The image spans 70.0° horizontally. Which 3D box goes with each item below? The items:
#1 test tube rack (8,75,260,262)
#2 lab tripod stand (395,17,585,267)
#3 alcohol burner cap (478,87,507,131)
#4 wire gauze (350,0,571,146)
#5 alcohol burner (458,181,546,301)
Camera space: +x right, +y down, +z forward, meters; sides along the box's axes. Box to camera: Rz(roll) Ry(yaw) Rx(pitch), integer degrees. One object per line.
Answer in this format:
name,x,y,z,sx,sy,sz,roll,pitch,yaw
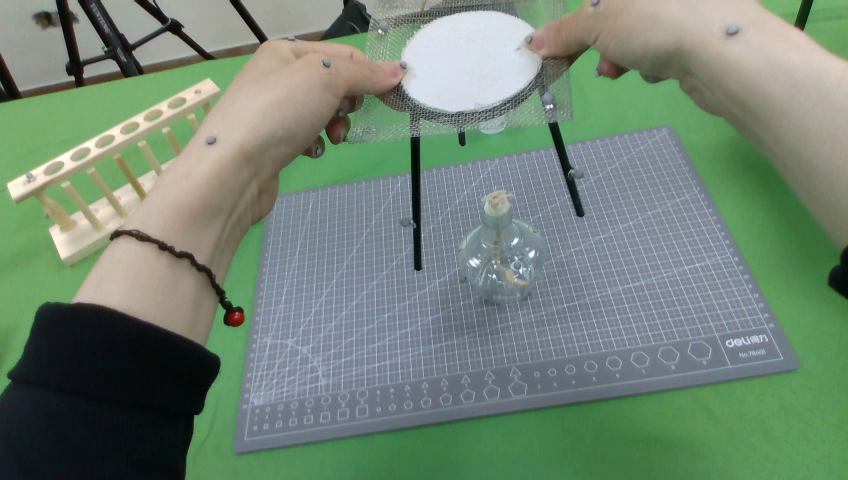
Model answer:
test tube rack,-0.321,-0.085,0.690,0.242,0.086,0.066,-34,52,-17
lab tripod stand,0.035,-0.064,0.407,0.148,0.133,0.147,-5,56,8
alcohol burner cap,0.077,-0.152,0.690,0.034,0.048,0.033,-7,50,8
wire gauze,0.023,-0.108,0.357,0.121,0.011,0.124,-1,59,11
alcohol burner,0.065,-0.003,0.515,0.078,0.120,0.077,-7,47,8
